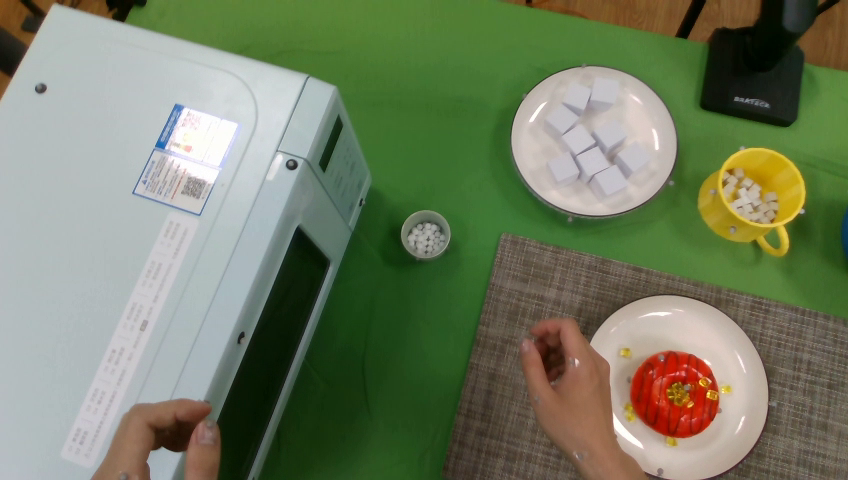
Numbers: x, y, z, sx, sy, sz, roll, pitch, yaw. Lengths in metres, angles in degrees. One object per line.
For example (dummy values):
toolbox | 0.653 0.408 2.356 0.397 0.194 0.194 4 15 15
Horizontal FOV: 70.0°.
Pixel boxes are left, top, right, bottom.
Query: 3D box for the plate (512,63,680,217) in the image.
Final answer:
plate | 0.216 -0.125 0.776 0.207 0.039 0.206 -1 76 3

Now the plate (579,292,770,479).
plate | 0.281 0.164 0.695 0.209 0.038 0.208 -1 76 3

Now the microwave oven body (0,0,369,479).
microwave oven body | -0.292 0.035 0.641 0.325 0.261 0.440 18 78 7

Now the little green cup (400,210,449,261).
little green cup | 0.002 -0.003 0.754 0.061 0.039 0.061 -1 79 3

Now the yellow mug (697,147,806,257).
yellow mug | 0.400 -0.041 0.731 0.100 0.064 0.130 -22 76 -2

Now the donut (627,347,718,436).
donut | 0.279 0.170 0.682 0.099 0.048 0.098 -1 79 5

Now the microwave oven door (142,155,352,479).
microwave oven door | -0.169 0.117 0.609 0.039 0.245 0.354 17 77 8

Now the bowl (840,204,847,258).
bowl | 0.553 -0.002 0.707 0.151 0.077 0.150 -1 76 3

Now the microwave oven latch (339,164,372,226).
microwave oven latch | -0.090 -0.059 0.754 0.030 0.029 0.079 20 78 7
